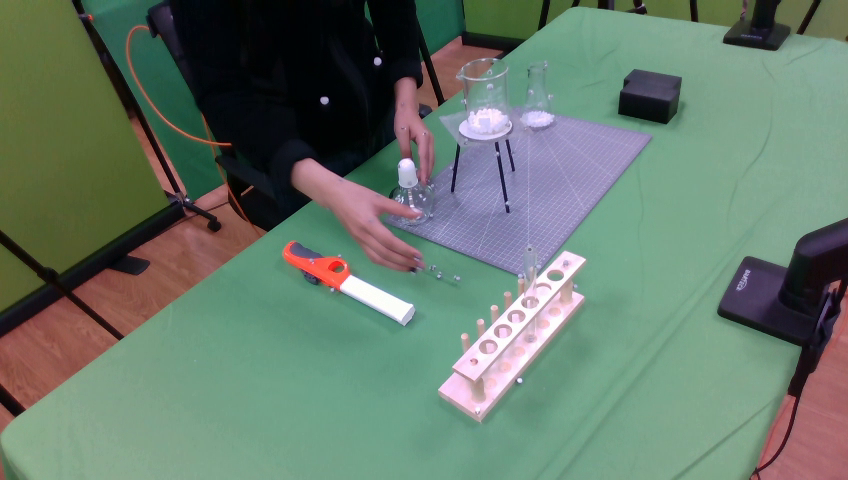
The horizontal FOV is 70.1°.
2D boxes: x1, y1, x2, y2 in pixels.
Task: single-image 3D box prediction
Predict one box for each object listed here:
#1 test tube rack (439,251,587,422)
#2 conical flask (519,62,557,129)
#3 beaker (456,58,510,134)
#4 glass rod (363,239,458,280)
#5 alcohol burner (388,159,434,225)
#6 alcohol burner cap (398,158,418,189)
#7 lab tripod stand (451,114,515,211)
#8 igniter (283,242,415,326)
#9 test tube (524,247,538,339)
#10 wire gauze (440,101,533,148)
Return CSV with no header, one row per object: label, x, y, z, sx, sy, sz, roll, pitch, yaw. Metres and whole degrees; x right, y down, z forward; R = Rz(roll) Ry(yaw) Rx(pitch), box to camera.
test tube rack,0.118,0.111,0.780,0.066,0.085,0.243,26,51,35
conical flask,0.225,-0.287,1.198,0.075,0.122,0.075,-6,40,5
beaker,0.098,-0.226,0.964,0.084,0.101,0.073,-7,39,4
glass rod,-0.026,0.030,0.965,0.198,0.008,0.008,20,49,35
alcohol burner,-0.024,-0.084,1.013,0.078,0.119,0.077,-4,38,4
alcohol burner cap,-0.028,-0.111,0.989,0.034,0.048,0.033,-3,47,3
lab tripod stand,0.113,-0.140,1.037,0.148,0.132,0.147,-6,38,5
igniter,-0.126,0.062,0.931,0.274,0.025,0.057,24,61,33
test tube,0.133,0.070,0.749,0.017,0.151,0.017,-5,38,4
wire gauze,0.100,-0.189,0.995,0.125,0.011,0.120,-16,37,-6
